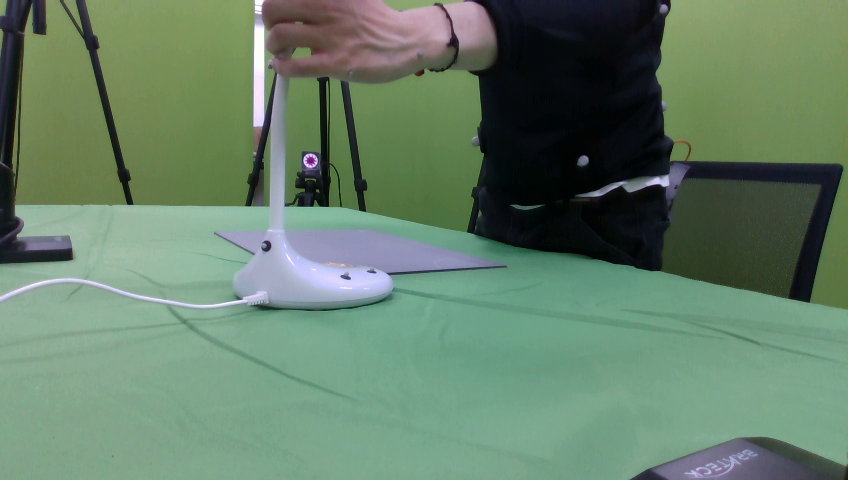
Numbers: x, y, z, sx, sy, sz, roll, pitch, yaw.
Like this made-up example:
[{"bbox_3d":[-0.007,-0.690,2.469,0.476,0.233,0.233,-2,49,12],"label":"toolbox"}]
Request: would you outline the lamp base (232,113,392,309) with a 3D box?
[{"bbox_3d":[-0.113,-0.031,0.594,0.160,0.180,0.179,5,10,18],"label":"lamp base"}]
